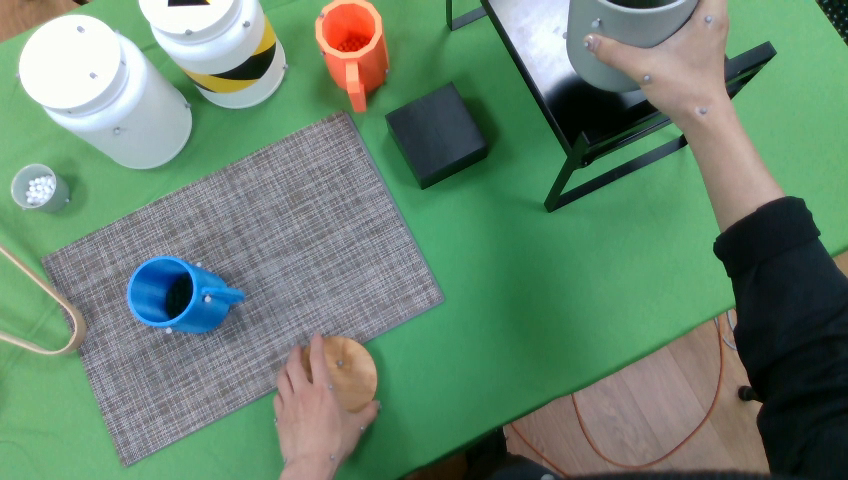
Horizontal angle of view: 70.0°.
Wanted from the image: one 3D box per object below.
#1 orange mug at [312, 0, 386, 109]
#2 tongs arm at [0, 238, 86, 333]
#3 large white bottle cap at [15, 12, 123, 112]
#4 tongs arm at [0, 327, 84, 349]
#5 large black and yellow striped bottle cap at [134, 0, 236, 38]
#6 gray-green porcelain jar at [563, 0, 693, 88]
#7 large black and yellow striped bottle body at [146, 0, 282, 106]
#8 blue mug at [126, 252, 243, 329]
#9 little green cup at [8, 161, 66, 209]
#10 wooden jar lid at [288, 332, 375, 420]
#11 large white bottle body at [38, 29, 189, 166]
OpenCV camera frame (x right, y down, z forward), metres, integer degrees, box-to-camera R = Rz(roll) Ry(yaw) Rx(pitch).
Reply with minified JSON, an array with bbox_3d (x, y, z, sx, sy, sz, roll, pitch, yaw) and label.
[{"bbox_3d":[-0.097,-0.245,0.807,0.083,0.101,0.125,-5,74,1],"label":"orange mug"},{"bbox_3d":[-0.586,-0.011,0.789,0.387,0.028,0.028,39,73,2],"label":"tongs arm"},{"bbox_3d":[-0.396,-0.199,0.676,0.115,0.018,0.114,0,79,2],"label":"large white bottle cap"},{"bbox_3d":[-0.628,0.060,0.772,0.385,0.026,0.050,25,76,-1],"label":"tongs arm"},{"bbox_3d":[-0.272,-0.286,0.691,0.115,0.019,0.114,0,78,1],"label":"large black and yellow striped bottle cap"},{"bbox_3d":[0.178,-0.205,0.535,0.106,0.127,0.105,-3,71,8],"label":"gray-green porcelain jar"},{"bbox_3d":[-0.268,-0.267,0.773,0.131,0.185,0.130,0,78,2],"label":"large black and yellow striped bottle body"},{"bbox_3d":[-0.282,0.064,0.743,0.116,0.106,0.082,-2,78,1],"label":"blue mug"},{"bbox_3d":[-0.518,-0.071,0.815,0.061,0.039,0.061,0,79,1],"label":"little green cup"},{"bbox_3d":[-0.115,0.171,0.762,0.108,0.021,0.108,0,82,0],"label":"wooden jar lid"},{"bbox_3d":[-0.393,-0.182,0.759,0.130,0.185,0.130,0,78,2],"label":"large white bottle body"}]
